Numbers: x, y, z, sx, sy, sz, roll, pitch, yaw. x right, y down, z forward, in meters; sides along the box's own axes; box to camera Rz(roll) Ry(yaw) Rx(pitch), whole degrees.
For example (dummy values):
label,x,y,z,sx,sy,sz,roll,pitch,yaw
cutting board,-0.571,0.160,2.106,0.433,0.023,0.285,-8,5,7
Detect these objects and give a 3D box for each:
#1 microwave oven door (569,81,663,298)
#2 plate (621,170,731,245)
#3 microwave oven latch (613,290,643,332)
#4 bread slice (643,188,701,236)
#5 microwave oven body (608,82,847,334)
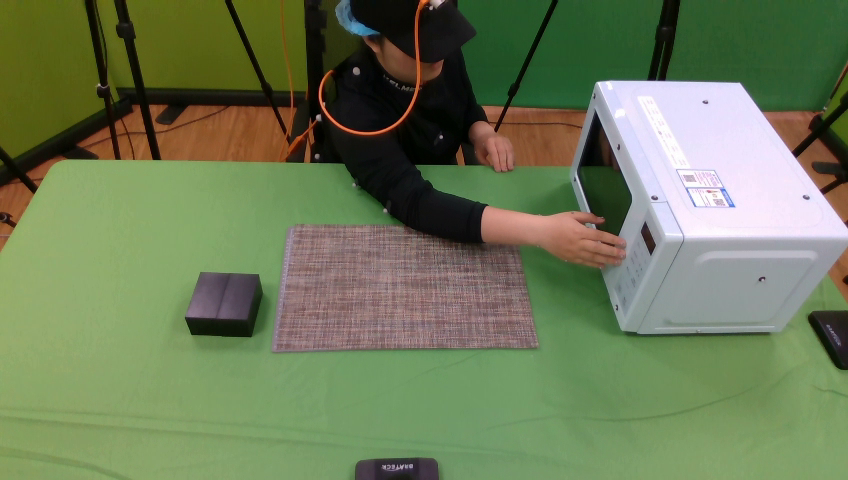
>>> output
label,x,y,z,sx,sy,sz,roll,pitch,yaw
microwave oven door,0.353,-0.103,1.147,0.039,0.245,0.353,0,46,-4
plate,0.490,-0.061,1.193,0.209,0.038,0.208,2,45,-2
microwave oven latch,0.357,0.125,1.068,0.030,0.029,0.078,0,45,-3
bread slice,0.495,-0.057,1.196,0.105,0.019,0.131,7,43,4
microwave oven body,0.501,-0.069,1.132,0.326,0.261,0.438,-1,45,-4
